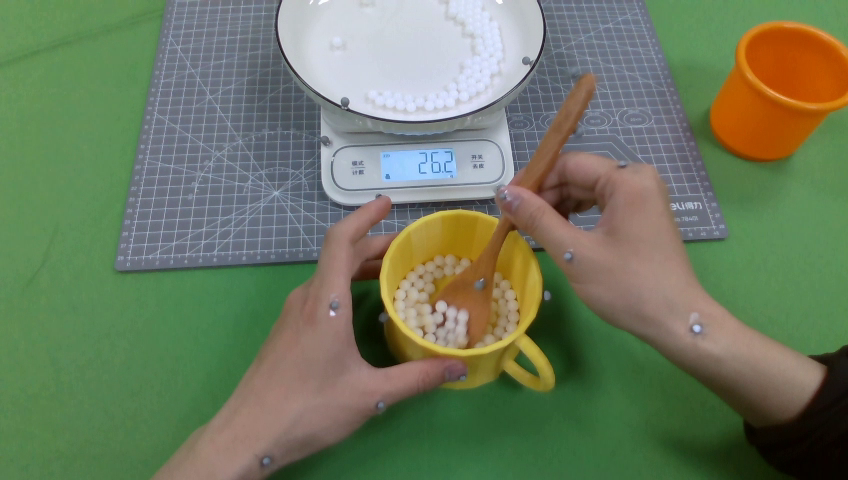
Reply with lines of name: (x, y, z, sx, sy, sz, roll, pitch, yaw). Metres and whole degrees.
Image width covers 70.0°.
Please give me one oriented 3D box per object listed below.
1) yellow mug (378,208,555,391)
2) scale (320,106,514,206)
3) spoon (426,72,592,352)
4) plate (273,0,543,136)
yellow mug: (0.033, 0.047, 0.388, 0.100, 0.064, 0.130, -41, 70, -19)
scale: (-0.011, -0.120, 0.496, 0.149, 0.032, 0.199, -3, 61, -3)
spoon: (0.050, -0.009, 0.366, 0.041, 0.194, 0.022, 37, 29, 22)
plate: (-0.012, -0.162, 0.482, 0.209, 0.038, 0.207, 1, 61, -2)
